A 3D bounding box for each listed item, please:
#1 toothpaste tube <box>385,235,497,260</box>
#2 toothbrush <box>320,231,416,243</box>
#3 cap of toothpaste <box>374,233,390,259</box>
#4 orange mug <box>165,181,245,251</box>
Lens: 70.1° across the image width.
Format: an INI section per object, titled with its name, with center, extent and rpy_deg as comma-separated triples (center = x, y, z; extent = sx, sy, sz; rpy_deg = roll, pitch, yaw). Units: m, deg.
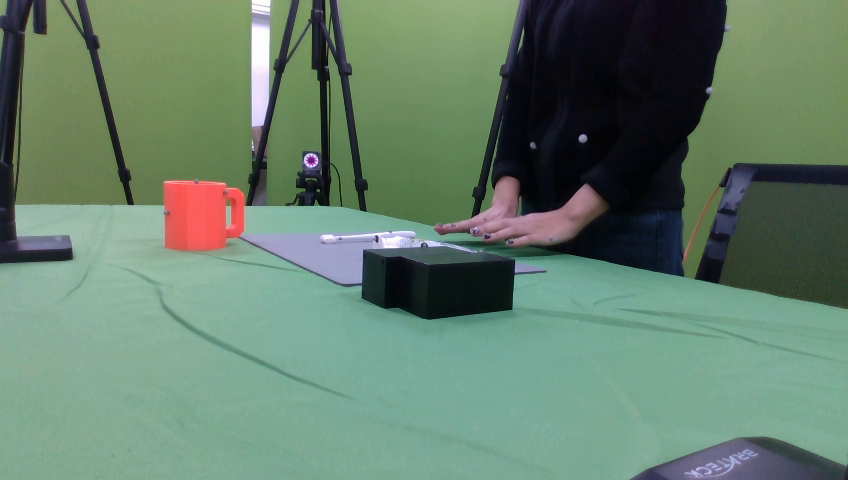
[toothpaste tube]
center = 0.019, 0.014, 0.852
extent = 0.166, 0.034, 0.055
rpy_deg = 4, 13, -20
[toothbrush]
center = -0.089, -0.006, 1.025
extent = 0.183, 0.014, 0.016
rpy_deg = -3, 12, -34
[cap of toothpaste]
center = -0.058, 0.008, 0.825
extent = 0.011, 0.037, 0.037
rpy_deg = -4, 9, -30
[orange mug]
center = -0.326, -0.040, 0.911
extent = 0.083, 0.101, 0.127
rpy_deg = 8, 14, 37
